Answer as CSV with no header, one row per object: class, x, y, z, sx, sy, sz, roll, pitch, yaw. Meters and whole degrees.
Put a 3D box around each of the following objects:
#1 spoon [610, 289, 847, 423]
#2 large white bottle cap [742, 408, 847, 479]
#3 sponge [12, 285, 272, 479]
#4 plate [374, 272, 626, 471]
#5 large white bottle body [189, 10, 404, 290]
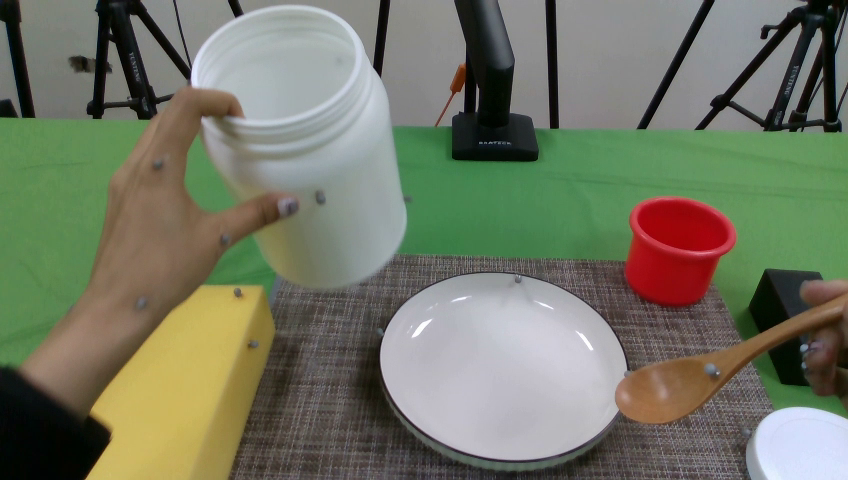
spoon,0.182,0.048,0.307,0.022,0.194,0.041,40,33,-21
large white bottle cap,0.300,0.176,0.450,0.115,0.018,0.113,2,38,-1
sponge,-0.205,0.124,0.477,0.118,0.061,0.205,0,37,2
plate,0.063,0.108,0.517,0.209,0.038,0.207,1,38,0
large white bottle body,-0.087,-0.059,0.451,0.130,0.186,0.129,-2,57,3
